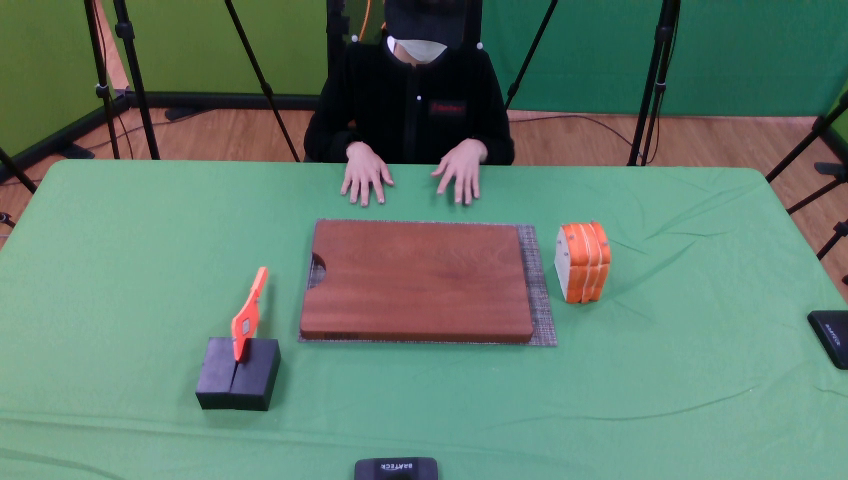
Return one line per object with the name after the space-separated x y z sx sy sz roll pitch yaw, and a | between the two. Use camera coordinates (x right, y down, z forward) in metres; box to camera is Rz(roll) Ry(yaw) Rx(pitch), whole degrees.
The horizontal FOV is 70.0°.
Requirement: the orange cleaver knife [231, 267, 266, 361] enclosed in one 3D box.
-0.292 0.119 1.019 0.012 0.077 0.210 -1 27 0 | orange cleaver knife

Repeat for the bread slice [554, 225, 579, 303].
0.260 0.036 1.109 0.019 0.132 0.104 -5 46 1 | bread slice

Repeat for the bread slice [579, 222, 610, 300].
0.313 0.035 1.111 0.018 0.135 0.106 -7 52 -2 | bread slice
